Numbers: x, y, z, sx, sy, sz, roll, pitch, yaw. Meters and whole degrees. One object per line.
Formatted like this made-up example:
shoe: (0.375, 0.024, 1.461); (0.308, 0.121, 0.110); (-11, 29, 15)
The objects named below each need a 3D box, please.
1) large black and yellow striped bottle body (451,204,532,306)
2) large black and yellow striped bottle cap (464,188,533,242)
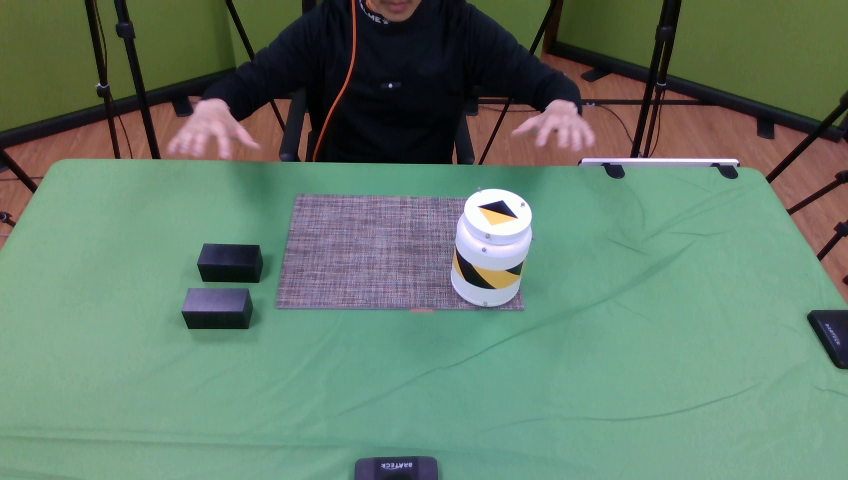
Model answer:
large black and yellow striped bottle body: (0.119, 0.014, 1.074); (0.131, 0.185, 0.130); (2, 46, -2)
large black and yellow striped bottle cap: (0.124, -0.044, 1.014); (0.115, 0.019, 0.114); (2, 47, -1)
